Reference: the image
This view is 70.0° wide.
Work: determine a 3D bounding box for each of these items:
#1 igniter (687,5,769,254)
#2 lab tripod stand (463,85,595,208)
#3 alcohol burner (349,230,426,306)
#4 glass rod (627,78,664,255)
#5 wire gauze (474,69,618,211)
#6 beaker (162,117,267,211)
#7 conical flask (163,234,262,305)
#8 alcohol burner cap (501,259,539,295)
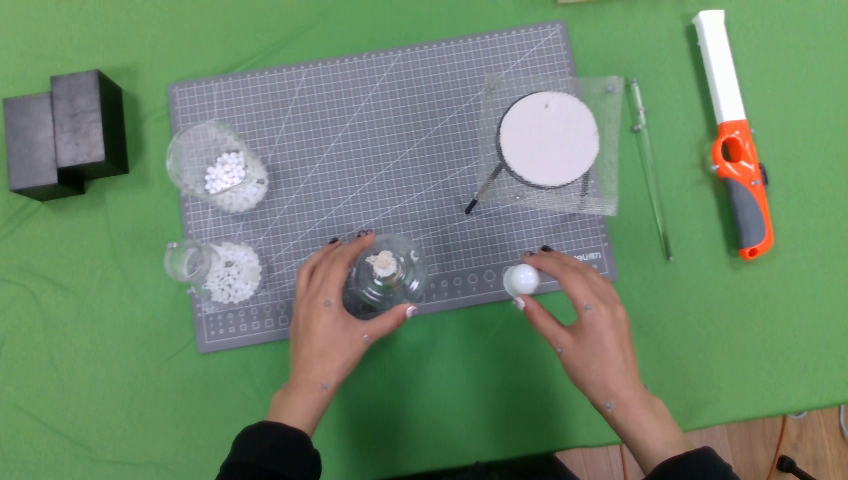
[{"bbox_3d":[0.329,-0.122,0.657,0.057,0.025,0.275,-7,82,-10],"label":"igniter"},{"bbox_3d":[0.104,-0.081,0.596,0.148,0.132,0.148,0,84,1],"label":"lab tripod stand"},{"bbox_3d":[-0.038,0.025,0.592,0.078,0.119,0.077,0,82,3],"label":"alcohol burner"},{"bbox_3d":[0.242,-0.081,0.661,0.008,0.008,0.199,-9,85,-1],"label":"glass rod"},{"bbox_3d":[0.107,-0.090,0.529,0.125,0.011,0.121,4,84,1],"label":"wire gauze"},{"bbox_3d":[-0.203,-0.070,0.612,0.084,0.100,0.074,26,83,3],"label":"beaker"},{"bbox_3d":[-0.209,0.024,0.588,0.075,0.122,0.075,0,82,0],"label":"conical flask"},{"bbox_3d":[0.090,0.032,0.557,0.034,0.048,0.033,0,81,-2],"label":"alcohol burner cap"}]
